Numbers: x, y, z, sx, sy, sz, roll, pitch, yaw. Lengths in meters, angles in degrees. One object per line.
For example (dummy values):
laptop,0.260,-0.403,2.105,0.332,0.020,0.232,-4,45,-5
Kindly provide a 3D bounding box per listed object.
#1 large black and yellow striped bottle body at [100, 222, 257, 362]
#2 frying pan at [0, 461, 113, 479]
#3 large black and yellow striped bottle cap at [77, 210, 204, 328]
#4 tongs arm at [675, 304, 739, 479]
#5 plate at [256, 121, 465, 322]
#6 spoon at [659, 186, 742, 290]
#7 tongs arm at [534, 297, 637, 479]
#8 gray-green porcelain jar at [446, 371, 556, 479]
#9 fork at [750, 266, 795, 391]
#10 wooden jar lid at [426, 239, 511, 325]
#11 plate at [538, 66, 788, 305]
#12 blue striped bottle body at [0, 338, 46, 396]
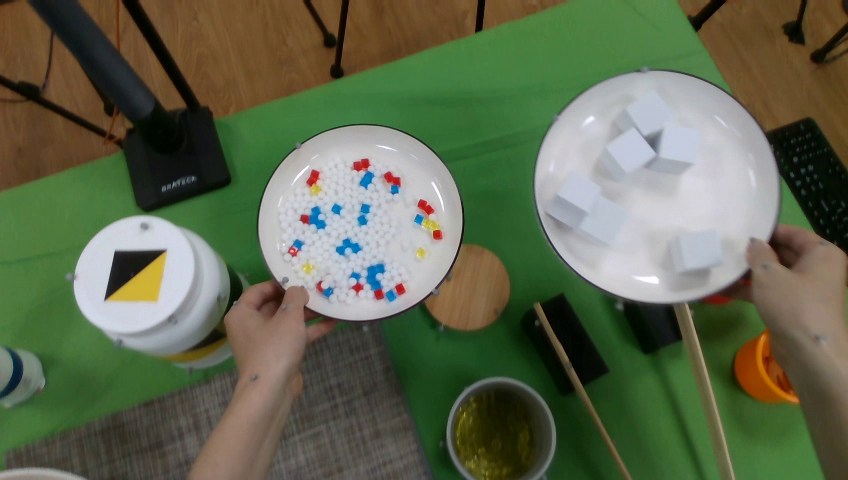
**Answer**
large black and yellow striped bottle body,-0.270,0.056,0.660,0.131,0.185,0.130,0,71,1
frying pan,-0.321,0.431,0.578,0.484,0.103,0.306,35,76,20
large black and yellow striped bottle cap,-0.271,0.027,0.580,0.115,0.019,0.114,0,74,0
tongs arm,0.307,0.197,0.656,0.028,0.028,0.386,-10,82,-10
plate,-0.062,-0.019,0.615,0.209,0.038,0.208,0,76,2
spoon,0.319,-0.003,0.692,0.196,0.021,0.041,42,75,-33
tongs arm,0.227,0.225,0.647,0.051,0.026,0.383,-25,84,-9
gray-green porcelain jar,0.076,0.199,0.640,0.106,0.127,0.105,0,71,1
fork,0.375,0.089,0.659,0.028,0.018,0.209,-30,119,0
wooden jar lid,0.052,0.052,0.743,0.108,0.021,0.108,0,73,1
plate,0.202,-0.046,0.527,0.207,0.039,0.207,0,82,2
blue striped bottle body,-0.485,0.136,0.669,0.063,0.121,0.062,0,72,1
